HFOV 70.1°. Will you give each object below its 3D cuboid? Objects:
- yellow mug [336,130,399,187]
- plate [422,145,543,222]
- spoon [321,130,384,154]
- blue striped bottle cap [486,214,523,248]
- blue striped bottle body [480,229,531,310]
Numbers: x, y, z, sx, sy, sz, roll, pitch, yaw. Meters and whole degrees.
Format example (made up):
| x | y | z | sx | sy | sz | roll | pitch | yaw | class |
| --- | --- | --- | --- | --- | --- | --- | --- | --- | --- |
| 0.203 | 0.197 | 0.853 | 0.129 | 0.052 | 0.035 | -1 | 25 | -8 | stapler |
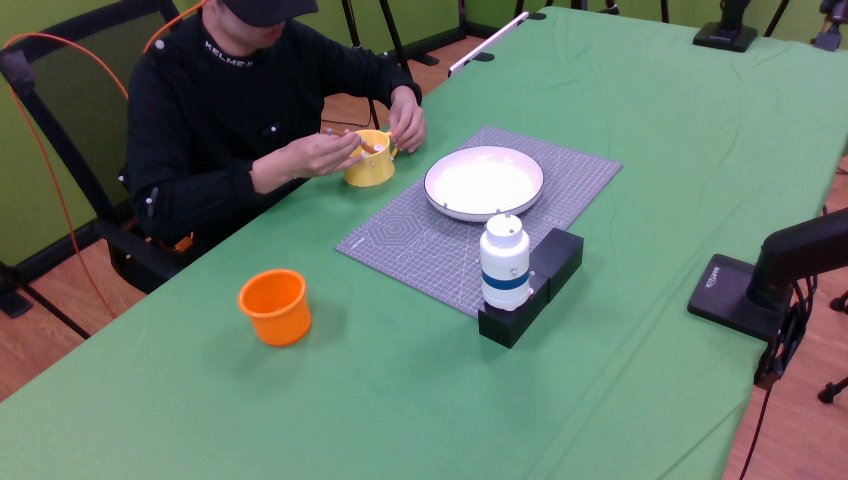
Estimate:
| x | y | z | sx | sy | sz | roll | pitch | yaw | class |
| --- | --- | --- | --- | --- | --- | --- | --- | --- | --- |
| -0.098 | -0.161 | 1.138 | 0.131 | 0.064 | 0.099 | -34 | 47 | -29 | yellow mug |
| 0.101 | -0.094 | 1.048 | 0.207 | 0.039 | 0.206 | -4 | 41 | 4 | plate |
| -0.124 | -0.174 | 1.062 | 0.041 | 0.021 | 0.195 | 22 | 5 | 25 | spoon |
| 0.098 | -0.011 | 0.735 | 0.044 | 0.021 | 0.044 | -3 | 38 | 3 | blue striped bottle cap |
| 0.104 | 0.027 | 0.769 | 0.063 | 0.121 | 0.063 | -4 | 40 | 4 | blue striped bottle body |
